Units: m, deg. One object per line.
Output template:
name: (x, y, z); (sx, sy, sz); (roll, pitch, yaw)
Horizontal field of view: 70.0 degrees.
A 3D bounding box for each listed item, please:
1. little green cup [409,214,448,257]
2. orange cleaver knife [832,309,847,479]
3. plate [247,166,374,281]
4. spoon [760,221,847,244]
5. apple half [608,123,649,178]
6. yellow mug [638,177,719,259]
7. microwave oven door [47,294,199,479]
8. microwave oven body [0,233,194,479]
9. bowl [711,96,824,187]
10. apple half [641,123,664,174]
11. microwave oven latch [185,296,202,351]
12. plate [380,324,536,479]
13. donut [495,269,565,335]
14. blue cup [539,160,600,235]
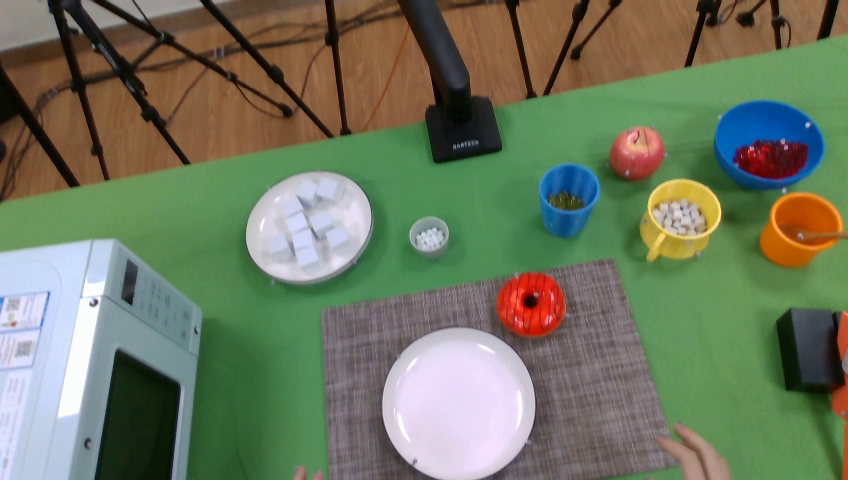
little green cup: (0.009, -0.004, 0.943); (0.061, 0.039, 0.061); (-3, 62, 7)
orange cleaver knife: (0.519, 0.192, 0.742); (0.012, 0.077, 0.211); (3, 93, 12)
plate: (-0.180, -0.024, 0.979); (0.207, 0.039, 0.206); (-3, 62, 7)
spoon: (0.543, -0.007, 0.806); (0.041, 0.192, 0.022); (-48, 110, -16)
apple half: (0.316, -0.137, 0.948); (0.053, 0.075, 0.080); (-6, 65, 8)
yellow mug: (0.362, -0.023, 0.886); (0.099, 0.064, 0.130); (35, 74, 22)
microwave oven door: (-0.350, 0.270, 0.713); (0.039, 0.246, 0.352); (-8, 62, 4)
microwave oven body: (-0.497, 0.255, 0.748); (0.326, 0.262, 0.437); (-7, 63, 4)
bowl: (0.507, -0.134, 0.917); (0.151, 0.077, 0.150); (-3, 63, 7)
apple half: (0.355, -0.141, 0.943); (0.033, 0.082, 0.080); (-6, 62, 9)
microwave oven latch: (-0.351, 0.126, 0.905); (0.030, 0.030, 0.078); (-6, 63, 4)
plate: (0.046, 0.217, 0.818); (0.209, 0.038, 0.207); (-3, 63, 7)
donut: (0.151, 0.089, 0.867); (0.099, 0.048, 0.098); (-3, 65, 7)
blue cup: (0.212, -0.056, 0.905); (0.092, 0.101, 0.092); (-3, 64, 6)
